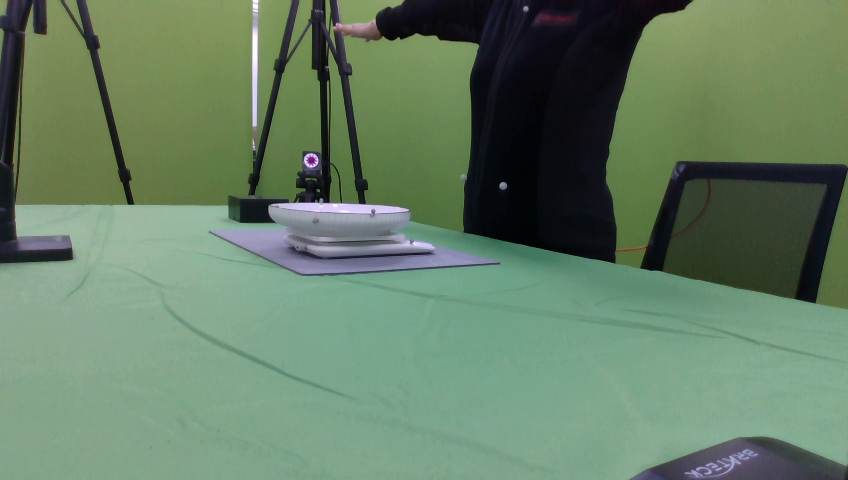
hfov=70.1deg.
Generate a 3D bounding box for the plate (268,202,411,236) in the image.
[{"bbox_3d":[-0.123,-0.032,0.894,0.209,0.038,0.209,2,7,0],"label":"plate"}]

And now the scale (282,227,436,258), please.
[{"bbox_3d":[-0.098,0.000,0.914,0.202,0.031,0.148,-2,9,-33],"label":"scale"}]
